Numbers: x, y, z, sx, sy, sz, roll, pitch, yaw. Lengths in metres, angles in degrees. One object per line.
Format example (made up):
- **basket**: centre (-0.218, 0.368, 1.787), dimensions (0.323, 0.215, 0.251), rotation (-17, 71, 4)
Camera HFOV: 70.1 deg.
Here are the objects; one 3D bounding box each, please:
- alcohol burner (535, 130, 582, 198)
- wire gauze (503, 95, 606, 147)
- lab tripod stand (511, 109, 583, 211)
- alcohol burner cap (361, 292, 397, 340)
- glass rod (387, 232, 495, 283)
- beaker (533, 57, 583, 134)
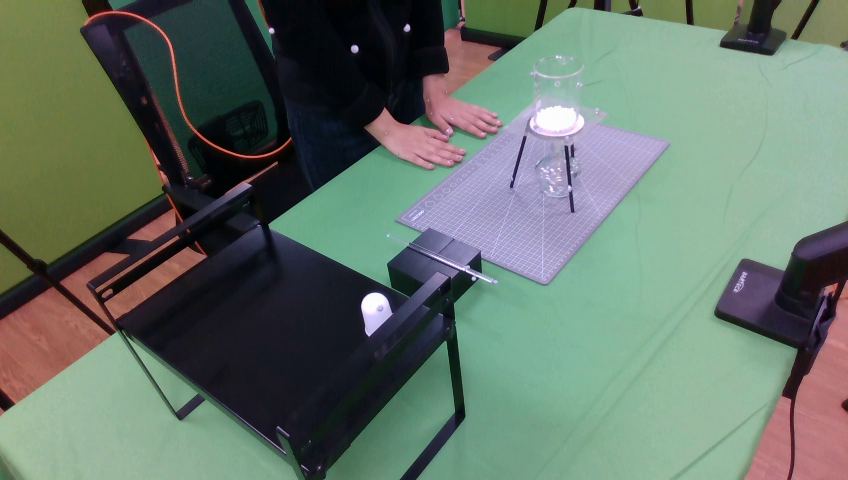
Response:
- **alcohol burner**: centre (0.227, -0.131, 1.021), dimensions (0.078, 0.119, 0.077), rotation (-6, 40, 5)
- **wire gauze**: centre (0.212, -0.191, 0.976), dimensions (0.120, 0.011, 0.125), rotation (24, 52, 32)
- **lab tripod stand**: centre (0.220, -0.138, 1.014), dimensions (0.148, 0.132, 0.147), rotation (-3, 41, 3)
- **alcohol burner cap**: centre (-0.046, 0.073, 0.601), dimensions (0.034, 0.048, 0.033), rotation (-4, 42, 4)
- **glass rod**: centre (0.020, 0.025, 0.880), dimensions (0.198, 0.008, 0.008), rotation (23, 49, 32)
- **beaker**: centre (0.208, -0.225, 0.941), dimensions (0.073, 0.101, 0.084), rotation (11, 44, 20)
